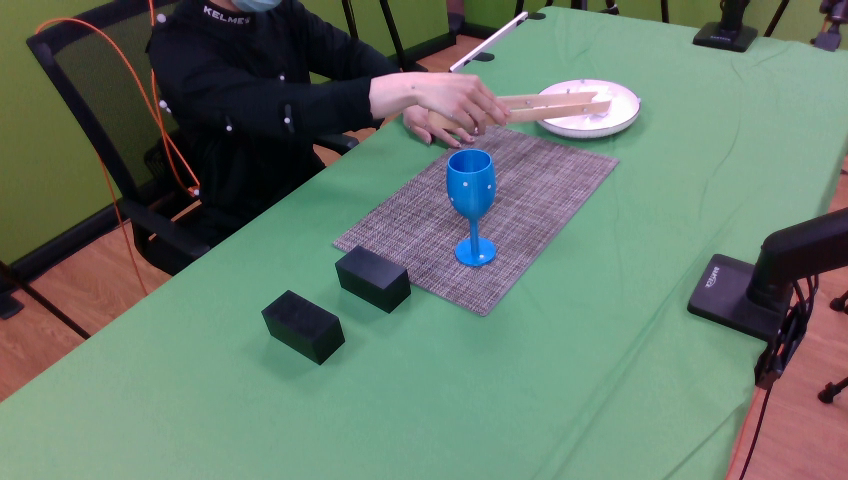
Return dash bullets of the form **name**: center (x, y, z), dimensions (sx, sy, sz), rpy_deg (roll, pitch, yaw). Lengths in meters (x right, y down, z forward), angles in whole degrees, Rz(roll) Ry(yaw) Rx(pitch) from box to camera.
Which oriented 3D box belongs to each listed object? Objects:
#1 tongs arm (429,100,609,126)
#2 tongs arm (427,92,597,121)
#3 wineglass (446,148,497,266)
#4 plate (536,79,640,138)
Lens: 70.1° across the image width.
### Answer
- **tongs arm**: center (0.187, -0.234, 1.096), dimensions (0.390, 0.028, 0.028), rpy_deg (-10, 44, -27)
- **tongs arm**: center (0.176, -0.248, 1.112), dimensions (0.387, 0.026, 0.050), rpy_deg (-7, 40, -24)
- **wineglass**: center (0.072, -0.045, 0.889), dimensions (0.074, 0.173, 0.073), rpy_deg (-4, 41, 4)
- **plate**: center (0.322, -0.259, 1.212), dimensions (0.209, 0.038, 0.208), rpy_deg (-4, 40, 4)
